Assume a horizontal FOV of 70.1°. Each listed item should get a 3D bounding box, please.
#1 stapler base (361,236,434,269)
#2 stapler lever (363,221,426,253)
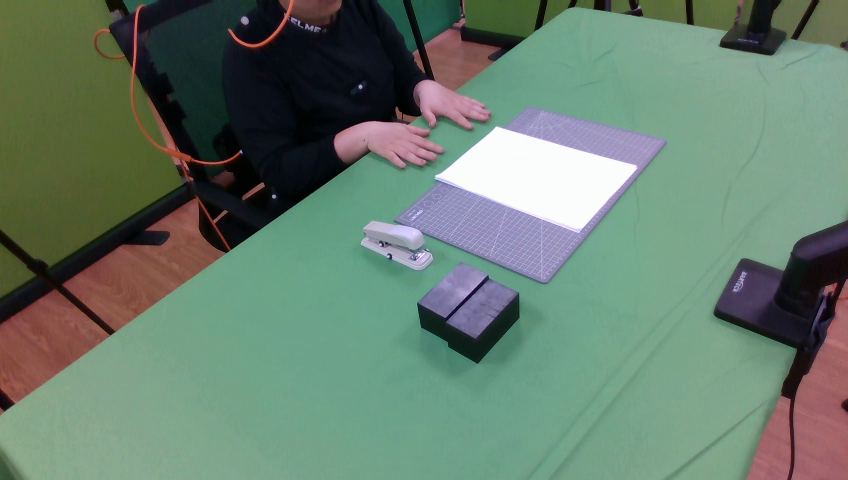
[{"bbox_3d":[-0.044,0.009,0.974,0.129,0.024,0.041,21,46,32],"label":"stapler base"},{"bbox_3d":[-0.049,-0.011,0.958,0.117,0.040,0.027,21,46,32],"label":"stapler lever"}]
